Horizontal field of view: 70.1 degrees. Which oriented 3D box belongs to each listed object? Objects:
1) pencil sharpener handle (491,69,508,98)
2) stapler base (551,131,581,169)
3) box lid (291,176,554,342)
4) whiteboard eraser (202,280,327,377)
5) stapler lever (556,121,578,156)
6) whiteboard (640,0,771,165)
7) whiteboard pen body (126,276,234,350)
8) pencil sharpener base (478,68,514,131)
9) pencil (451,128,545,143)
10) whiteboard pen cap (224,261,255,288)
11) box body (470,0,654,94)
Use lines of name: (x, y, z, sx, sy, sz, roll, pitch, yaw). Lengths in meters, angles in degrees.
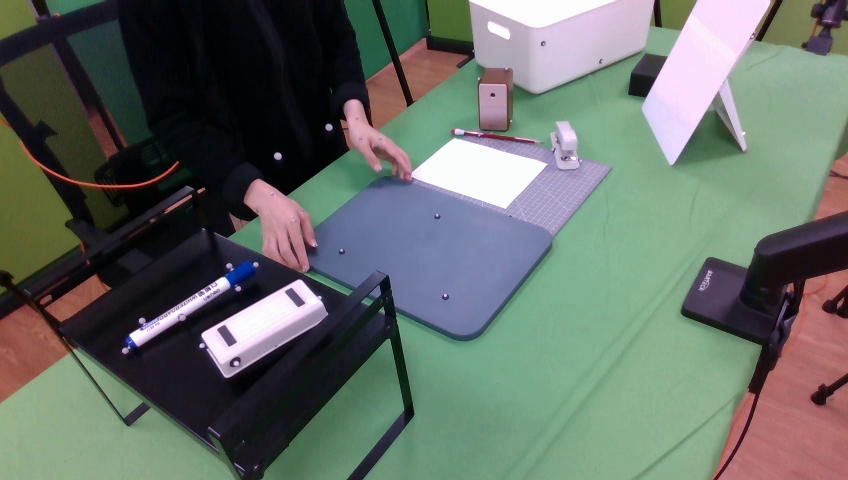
pencil sharpener handle: (0.155, -0.329, 1.254, 0.036, 0.068, 0.030, 17, 43, 4)
stapler base: (0.268, -0.178, 1.142, 0.041, 0.024, 0.130, 0, 37, 3)
box lid: (-0.005, 0.011, 0.971, 0.368, 0.015, 0.264, 21, 49, 30)
whiteboard eraser: (-0.156, 0.088, 0.600, 0.113, 0.042, 0.055, -30, 47, -24)
stapler lever: (0.266, -0.198, 1.128, 0.027, 0.040, 0.117, 0, 38, 3)
whiteboard: (0.544, -0.299, 1.076, 0.144, 0.305, 0.216, 12, 40, -7)
whiteboard pen body: (-0.251, 0.070, 0.649, 0.141, 0.017, 0.017, -36, 48, -26)
pencil sharpener base: (0.148, -0.286, 1.225, 0.061, 0.107, 0.076, 5, 41, 15)
pencil: (0.145, -0.207, 1.205, 0.193, 0.012, 0.012, 11, 44, 20)
whiteboard pen cap: (-0.207, 0.039, 0.677, 0.033, 0.018, 0.018, -36, 47, -18)
box body: (0.319, -0.498, 1.405, 0.365, 0.161, 0.252, -26, 43, -21)
